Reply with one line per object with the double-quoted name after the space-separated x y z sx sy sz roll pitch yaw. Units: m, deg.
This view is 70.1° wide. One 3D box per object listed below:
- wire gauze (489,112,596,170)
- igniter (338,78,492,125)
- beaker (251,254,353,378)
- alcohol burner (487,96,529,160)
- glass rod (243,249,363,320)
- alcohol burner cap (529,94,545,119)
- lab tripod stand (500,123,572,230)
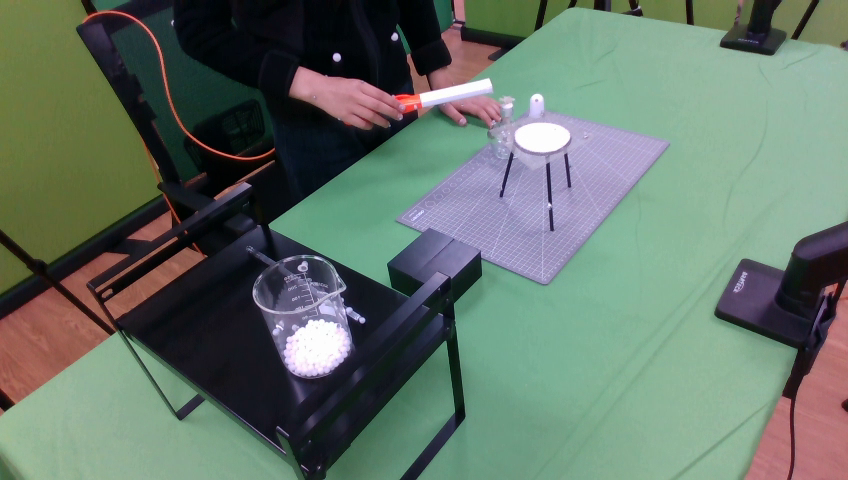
0.183 -0.161 0.942 0.122 0.011 0.124 -24 44 -18 "wire gauze"
-0.018 -0.245 1.072 0.276 0.025 0.057 -12 42 2 "igniter"
-0.106 0.074 0.565 0.084 0.101 0.073 -1 41 8 "beaker"
0.155 -0.212 1.126 0.078 0.119 0.077 -6 40 5 "alcohol burner"
-0.141 0.046 0.674 0.198 0.008 0.008 24 49 32 "glass rod"
0.233 -0.277 1.247 0.034 0.048 0.033 -5 41 5 "alcohol burner cap"
0.194 -0.110 0.985 0.148 0.132 0.147 -3 41 3 "lab tripod stand"
